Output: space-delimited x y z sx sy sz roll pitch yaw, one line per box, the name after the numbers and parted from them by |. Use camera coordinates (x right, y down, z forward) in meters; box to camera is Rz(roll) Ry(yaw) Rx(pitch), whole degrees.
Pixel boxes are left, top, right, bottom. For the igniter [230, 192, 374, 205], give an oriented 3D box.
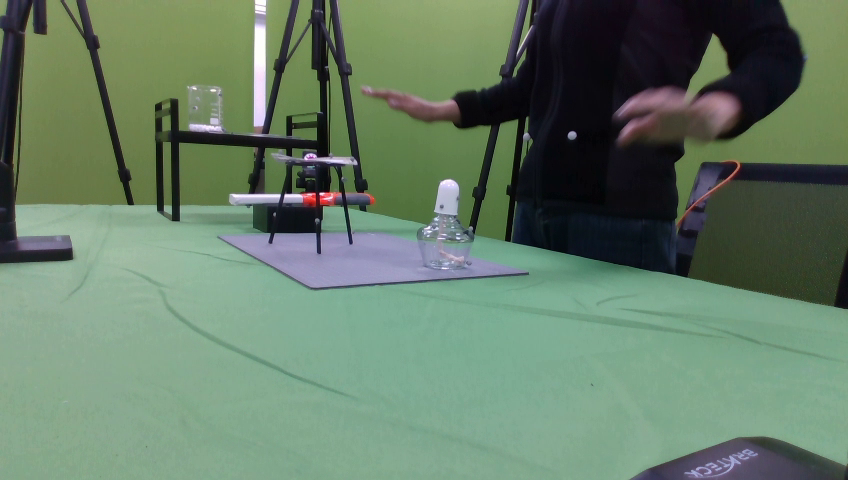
-0.228 -0.079 1.164 0.278 0.025 0.057 -2 14 -30 | igniter

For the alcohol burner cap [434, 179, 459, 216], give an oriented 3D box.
0.031 -0.055 0.792 0.034 0.048 0.034 6 9 -1 | alcohol burner cap

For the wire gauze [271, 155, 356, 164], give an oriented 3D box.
-0.167 -0.122 0.917 0.125 0.011 0.121 0 7 -9 | wire gauze

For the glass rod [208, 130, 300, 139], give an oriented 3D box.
-0.367 -0.231 1.321 0.201 0.008 0.008 -1 8 -30 | glass rod

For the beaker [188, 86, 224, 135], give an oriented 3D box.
-0.474 -0.280 1.311 0.074 0.100 0.084 5 8 25 | beaker

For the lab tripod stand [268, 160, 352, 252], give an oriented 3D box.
-0.171 -0.055 0.921 0.148 0.131 0.148 1 8 0 | lab tripod stand

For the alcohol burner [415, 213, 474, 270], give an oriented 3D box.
0.028 -0.020 0.798 0.078 0.119 0.078 3 5 0 | alcohol burner
